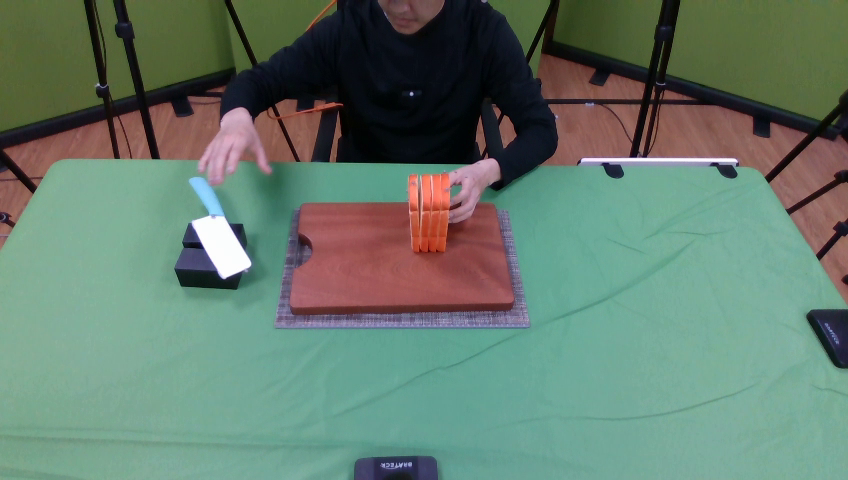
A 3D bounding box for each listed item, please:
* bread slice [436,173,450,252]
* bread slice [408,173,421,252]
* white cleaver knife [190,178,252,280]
[{"bbox_3d":[0.035,-0.058,1.137,0.018,0.135,0.106,2,49,-3],"label":"bread slice"},{"bbox_3d":[-0.018,-0.059,1.136,0.019,0.132,0.104,-3,44,1],"label":"bread slice"},{"bbox_3d":[-0.397,-0.030,1.137,0.066,0.021,0.284,-21,49,-23],"label":"white cleaver knife"}]
